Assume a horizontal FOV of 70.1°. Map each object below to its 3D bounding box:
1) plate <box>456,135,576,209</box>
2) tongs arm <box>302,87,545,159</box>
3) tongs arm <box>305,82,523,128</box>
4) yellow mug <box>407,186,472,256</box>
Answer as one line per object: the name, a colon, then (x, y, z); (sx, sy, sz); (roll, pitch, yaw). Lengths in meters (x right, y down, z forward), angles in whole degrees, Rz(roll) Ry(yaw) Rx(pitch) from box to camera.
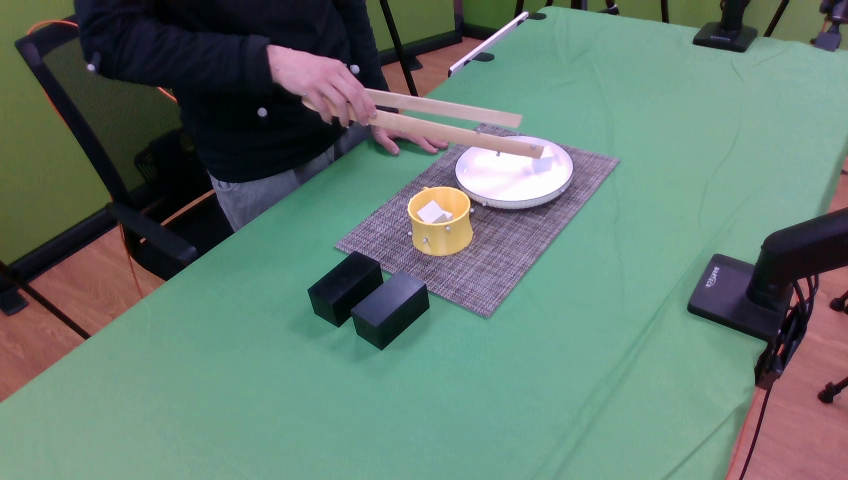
plate: (0.161, -0.116, 1.064); (0.207, 0.039, 0.206); (-4, 40, 4)
tongs arm: (0.006, -0.180, 0.942); (0.387, 0.026, 0.050); (8, 36, -17)
tongs arm: (-0.006, -0.217, 0.992); (0.390, 0.028, 0.028); (3, 41, -23)
yellow mug: (0.020, -0.041, 0.973); (0.100, 0.064, 0.129); (-18, 41, -13)
